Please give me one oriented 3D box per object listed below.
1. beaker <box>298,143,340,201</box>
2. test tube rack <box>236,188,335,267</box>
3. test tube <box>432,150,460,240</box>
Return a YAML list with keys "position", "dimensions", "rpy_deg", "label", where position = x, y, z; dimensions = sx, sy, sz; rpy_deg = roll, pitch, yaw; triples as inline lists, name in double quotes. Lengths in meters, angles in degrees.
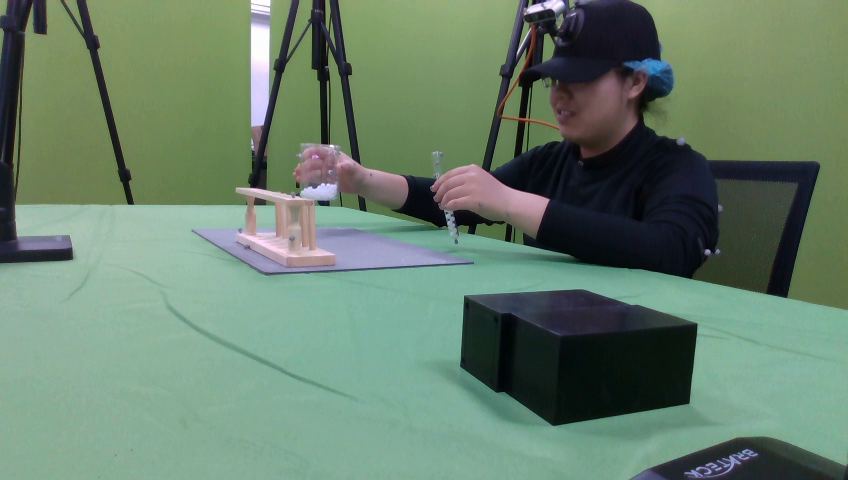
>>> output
- position: [-0.191, -0.124, 1.106]
  dimensions: [0.074, 0.100, 0.083]
  rpy_deg: [-3, 13, -32]
  label: "beaker"
- position: [-0.202, -0.024, 0.854]
  dimensions: [0.067, 0.085, 0.241]
  rpy_deg: [-2, 8, -31]
  label: "test tube rack"
- position: [0.036, -0.074, 0.991]
  dimensions: [0.017, 0.150, 0.017]
  rpy_deg: [-13, 1, 1]
  label: "test tube"
